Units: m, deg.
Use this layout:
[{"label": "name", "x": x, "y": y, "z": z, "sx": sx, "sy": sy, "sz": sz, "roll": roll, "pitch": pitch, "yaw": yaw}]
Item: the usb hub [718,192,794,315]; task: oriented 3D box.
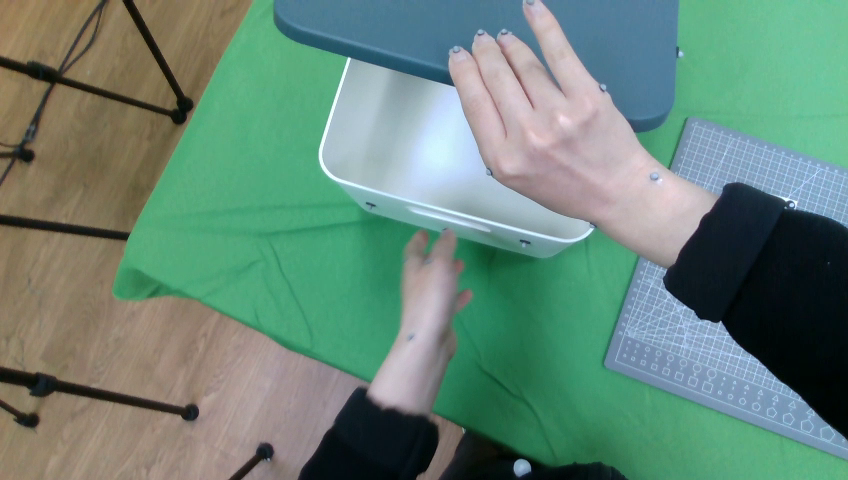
[{"label": "usb hub", "x": 0.356, "y": 0.014, "z": 0.650, "sx": 0.049, "sy": 0.025, "sz": 0.125, "roll": 17, "pitch": 82, "yaw": 6}]

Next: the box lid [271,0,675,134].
[{"label": "box lid", "x": 0.068, "y": -0.228, "z": 0.478, "sx": 0.263, "sy": 0.015, "sz": 0.369, "roll": 16, "pitch": 52, "yaw": 5}]

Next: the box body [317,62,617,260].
[{"label": "box body", "x": 0.072, "y": -0.180, "z": 0.631, "sx": 0.254, "sy": 0.161, "sz": 0.363, "roll": 15, "pitch": 81, "yaw": 5}]
